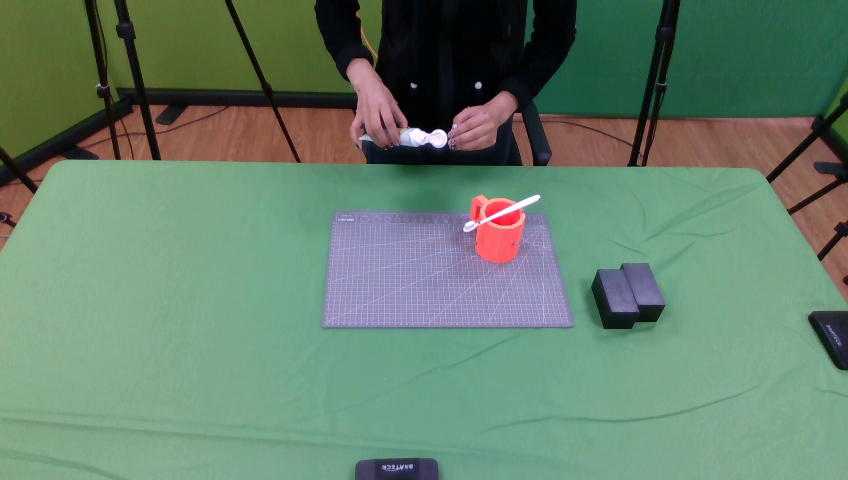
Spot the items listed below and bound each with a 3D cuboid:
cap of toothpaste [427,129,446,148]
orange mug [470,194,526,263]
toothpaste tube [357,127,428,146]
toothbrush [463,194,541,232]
[{"bbox_3d":[0.023,-0.195,1.158,0.037,0.037,0.011,21,12,16],"label":"cap of toothpaste"},{"bbox_3d":[0.136,-0.030,1.180,0.083,0.101,0.125,-26,58,-26],"label":"orange mug"},{"bbox_3d":[-0.058,-0.208,1.195,0.164,0.034,0.055,12,33,37],"label":"toothpaste tube"},{"bbox_3d":[0.149,-0.054,1.131,0.182,0.017,0.014,-23,47,-24],"label":"toothbrush"}]
